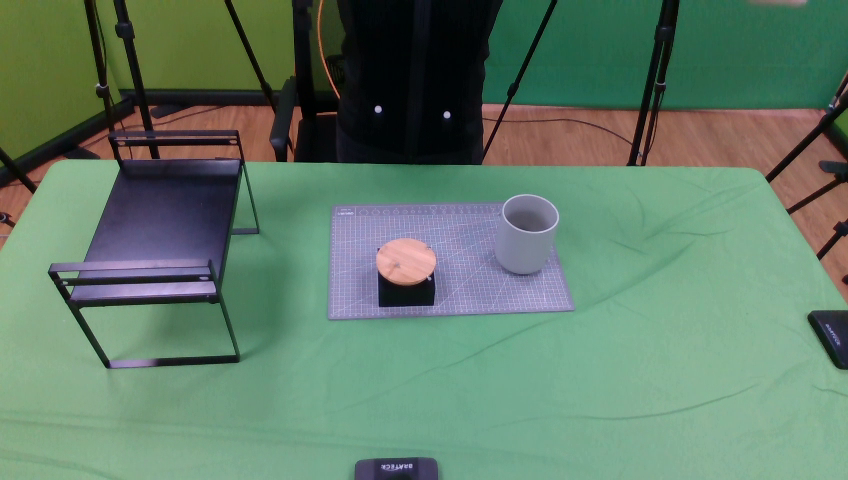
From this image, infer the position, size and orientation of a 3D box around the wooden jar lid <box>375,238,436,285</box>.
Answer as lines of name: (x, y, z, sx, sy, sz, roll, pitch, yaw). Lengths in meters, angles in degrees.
wooden jar lid: (-0.033, 0.040, 1.084, 0.108, 0.021, 0.107, 3, 46, -3)

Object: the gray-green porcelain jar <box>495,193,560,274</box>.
gray-green porcelain jar: (0.191, -0.007, 1.140, 0.106, 0.127, 0.105, 2, 46, -2)
